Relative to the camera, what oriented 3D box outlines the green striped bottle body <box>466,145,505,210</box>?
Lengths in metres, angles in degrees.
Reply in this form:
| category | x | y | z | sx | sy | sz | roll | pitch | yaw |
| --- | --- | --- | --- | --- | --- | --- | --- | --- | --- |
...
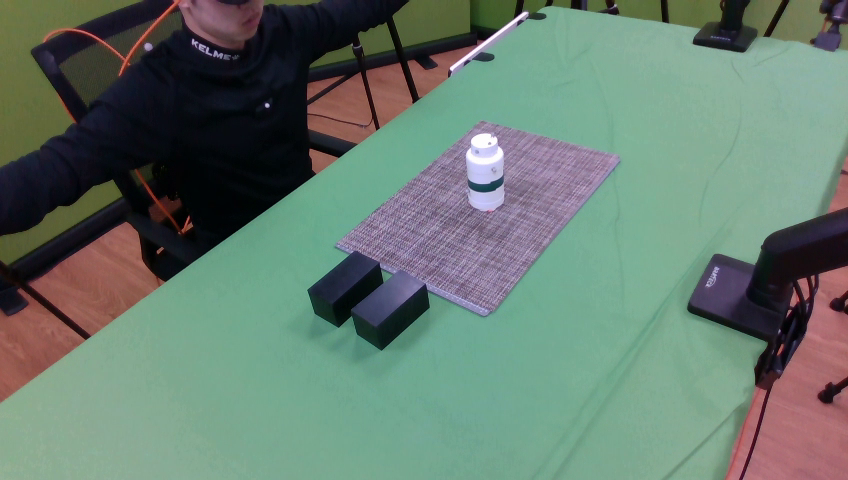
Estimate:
| category | x | y | z | sx | sy | sz | roll | pitch | yaw |
| --- | --- | --- | --- | --- | --- | --- | --- | --- | --- |
| green striped bottle body | 0.102 | -0.114 | 1.005 | 0.063 | 0.120 | 0.063 | -4 | 41 | 4 |

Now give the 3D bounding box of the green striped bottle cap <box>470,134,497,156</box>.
| category | x | y | z | sx | sy | sz | roll | pitch | yaw |
| --- | --- | --- | --- | --- | --- | --- | --- | --- | --- |
| green striped bottle cap | 0.095 | -0.152 | 0.971 | 0.044 | 0.020 | 0.044 | -3 | 38 | 3 |
